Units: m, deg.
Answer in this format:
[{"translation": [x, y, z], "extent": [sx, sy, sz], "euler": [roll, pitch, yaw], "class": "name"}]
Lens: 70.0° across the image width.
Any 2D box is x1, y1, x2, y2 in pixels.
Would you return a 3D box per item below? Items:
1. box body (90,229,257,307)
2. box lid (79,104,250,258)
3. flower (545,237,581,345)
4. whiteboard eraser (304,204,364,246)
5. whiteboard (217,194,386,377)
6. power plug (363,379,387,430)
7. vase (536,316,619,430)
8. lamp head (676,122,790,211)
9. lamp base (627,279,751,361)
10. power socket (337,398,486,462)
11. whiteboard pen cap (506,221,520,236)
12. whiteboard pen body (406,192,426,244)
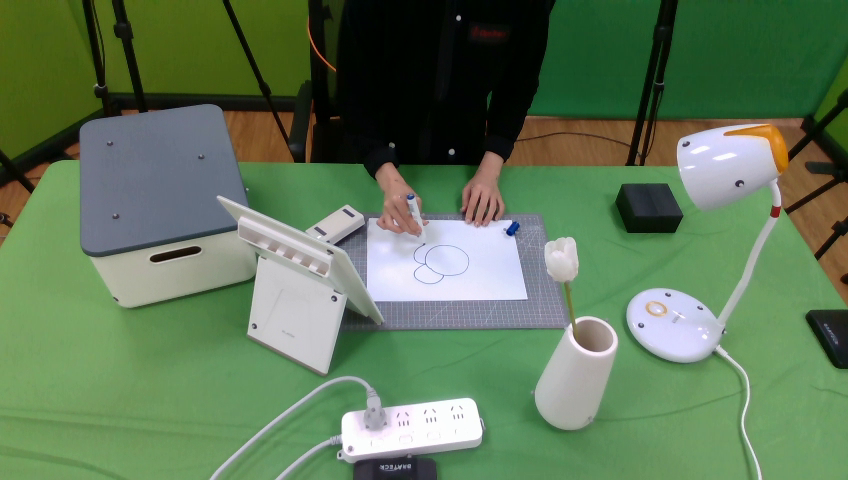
[{"translation": [-0.471, -0.070, 1.131], "extent": [0.254, 0.161, 0.361], "euler": [-14, 49, -17], "class": "box body"}, {"translation": [-0.467, -0.121, 1.075], "extent": [0.264, 0.015, 0.369], "euler": [-13, 49, -17], "class": "box lid"}, {"translation": [0.213, 0.137, 0.846], "extent": [0.038, 0.364, 0.044], "euler": [22, 55, 40], "class": "flower"}, {"translation": [-0.175, -0.022, 1.188], "extent": [0.055, 0.042, 0.112], "euler": [36, 53, 26], "class": "whiteboard eraser"}, {"translation": [-0.212, 0.093, 0.938], "extent": [0.216, 0.307, 0.143], "euler": [24, 70, 17], "class": "whiteboard"}, {"translation": [-0.071, 0.252, 0.911], "extent": [0.035, 0.053, 0.072], "euler": [3, 40, 0], "class": "power plug"}, {"translation": [0.229, 0.200, 0.901], "extent": [0.098, 0.201, 0.097], "euler": [3, 46, -3], "class": "vase"}, {"translation": [0.423, -0.104, 0.819], "extent": [0.122, 0.113, 0.112], "euler": [-13, 33, 40], "class": "lamp head"}, {"translation": [0.460, 0.100, 1.027], "extent": [0.178, 0.181, 0.160], "euler": [27, 51, 17], "class": "lamp base"}, {"translation": [-0.018, 0.285, 0.914], "extent": [0.227, 0.033, 0.071], "euler": [-4, 46, -8], "class": "power socket"}, {"translation": [0.180, -0.023, 1.233], "extent": [0.018, 0.018, 0.033], "euler": [27, 52, 20], "class": "whiteboard pen cap"}, {"translation": [-0.012, -0.038, 1.148], "extent": [0.017, 0.141, 0.017], "euler": [-7, 48, 8], "class": "whiteboard pen body"}]
